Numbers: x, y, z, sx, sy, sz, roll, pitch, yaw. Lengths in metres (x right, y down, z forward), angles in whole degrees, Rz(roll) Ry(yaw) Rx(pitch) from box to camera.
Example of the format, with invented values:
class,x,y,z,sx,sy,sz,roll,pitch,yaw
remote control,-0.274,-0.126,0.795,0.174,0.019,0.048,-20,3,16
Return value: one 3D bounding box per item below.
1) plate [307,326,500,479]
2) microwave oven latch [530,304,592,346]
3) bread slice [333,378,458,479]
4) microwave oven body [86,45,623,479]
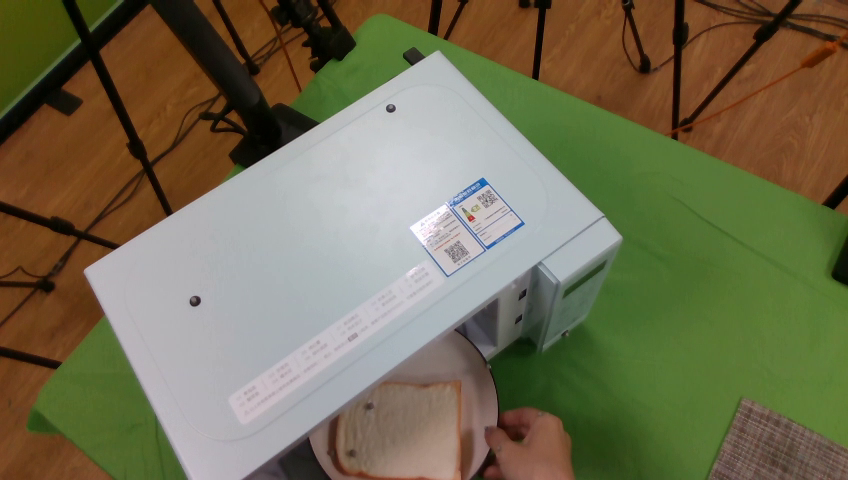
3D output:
class,x,y,z,sx,sy,sz,roll,pitch,yaw
plate,-0.022,0.179,0.658,0.208,0.039,0.206,1,62,-1
microwave oven latch,0.171,0.098,0.756,0.079,0.030,0.030,-33,67,-9
bread slice,-0.030,0.204,0.653,0.134,0.018,0.106,4,62,-7
microwave oven body,-0.068,0.051,0.694,0.441,0.262,0.323,-35,67,-10
